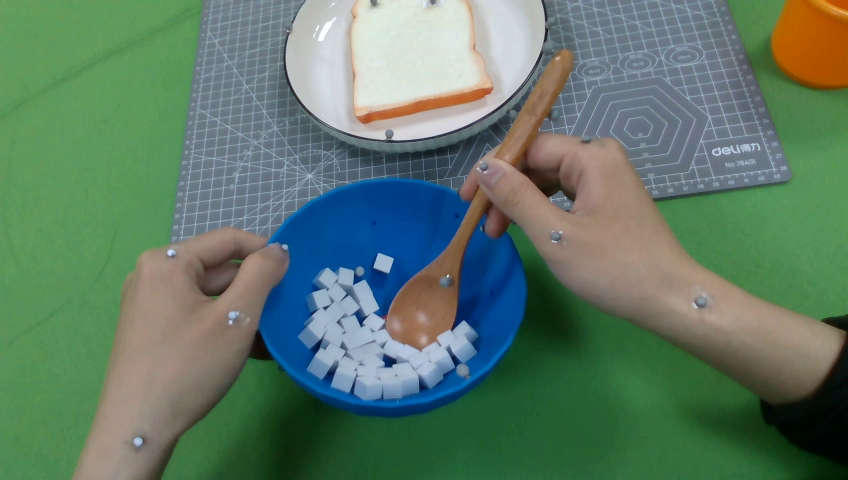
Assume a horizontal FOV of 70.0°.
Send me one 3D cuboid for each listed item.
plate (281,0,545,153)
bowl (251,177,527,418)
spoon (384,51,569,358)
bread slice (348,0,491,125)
[{"bbox_3d":[-0.009,-0.154,0.486,0.209,0.038,0.207,-4,64,9],"label":"plate"},{"bbox_3d":[-0.019,0.043,0.362,0.151,0.077,0.150,1,53,-1],"label":"bowl"},{"bbox_3d":[0.027,-0.012,0.333,0.041,0.022,0.194,37,118,19],"label":"spoon"},{"bbox_3d":[-0.012,-0.157,0.491,0.107,0.018,0.133,-14,65,4],"label":"bread slice"}]
